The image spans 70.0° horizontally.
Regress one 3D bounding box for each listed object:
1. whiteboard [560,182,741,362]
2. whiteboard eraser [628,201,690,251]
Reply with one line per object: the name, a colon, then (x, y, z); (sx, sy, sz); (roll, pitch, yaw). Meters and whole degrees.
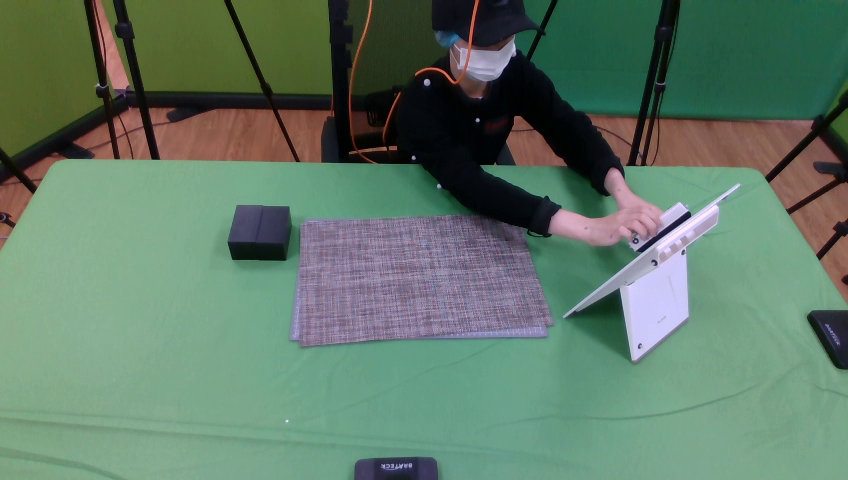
whiteboard: (0.406, 0.075, 1.001); (0.217, 0.306, 0.143); (-28, 73, -28)
whiteboard eraser: (0.415, -0.021, 1.067); (0.041, 0.113, 0.055); (52, 18, 9)
